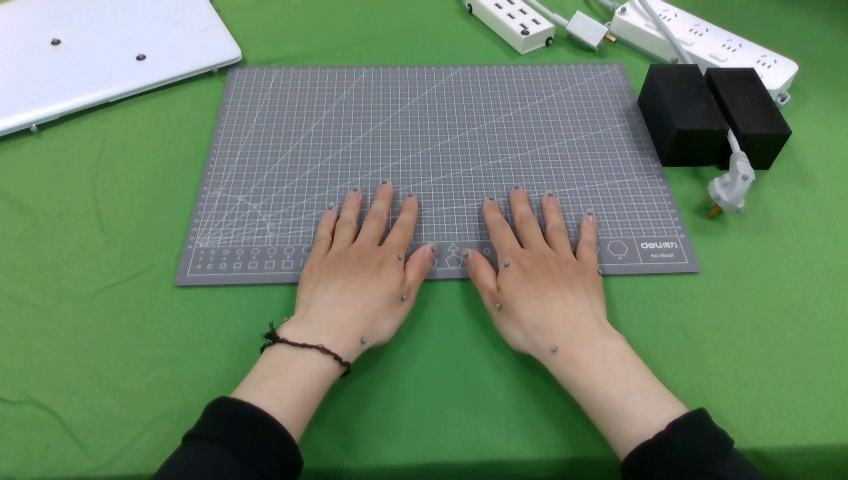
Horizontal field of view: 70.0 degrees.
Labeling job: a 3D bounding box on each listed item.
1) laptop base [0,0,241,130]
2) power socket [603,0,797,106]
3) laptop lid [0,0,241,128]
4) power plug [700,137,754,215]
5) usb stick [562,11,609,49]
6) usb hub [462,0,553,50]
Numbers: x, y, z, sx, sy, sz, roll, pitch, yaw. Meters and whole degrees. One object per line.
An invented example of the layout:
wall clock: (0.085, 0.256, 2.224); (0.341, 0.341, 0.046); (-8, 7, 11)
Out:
laptop base: (-0.413, -0.219, 0.689); (0.355, 0.023, 0.233); (-25, 61, -19)
power socket: (0.318, -0.227, 0.703); (0.225, 0.033, 0.072); (39, 60, 25)
laptop lid: (-0.412, -0.225, 0.679); (0.357, 0.013, 0.239); (-23, 59, -18)
power plug: (0.283, -0.055, 0.565); (0.035, 0.053, 0.072); (37, 45, 1)
usb stick: (0.196, -0.247, 0.720); (0.059, 0.027, 0.021); (28, 11, 2)
usb hub: (0.099, -0.281, 0.744); (0.049, 0.025, 0.124); (-26, 57, -20)
